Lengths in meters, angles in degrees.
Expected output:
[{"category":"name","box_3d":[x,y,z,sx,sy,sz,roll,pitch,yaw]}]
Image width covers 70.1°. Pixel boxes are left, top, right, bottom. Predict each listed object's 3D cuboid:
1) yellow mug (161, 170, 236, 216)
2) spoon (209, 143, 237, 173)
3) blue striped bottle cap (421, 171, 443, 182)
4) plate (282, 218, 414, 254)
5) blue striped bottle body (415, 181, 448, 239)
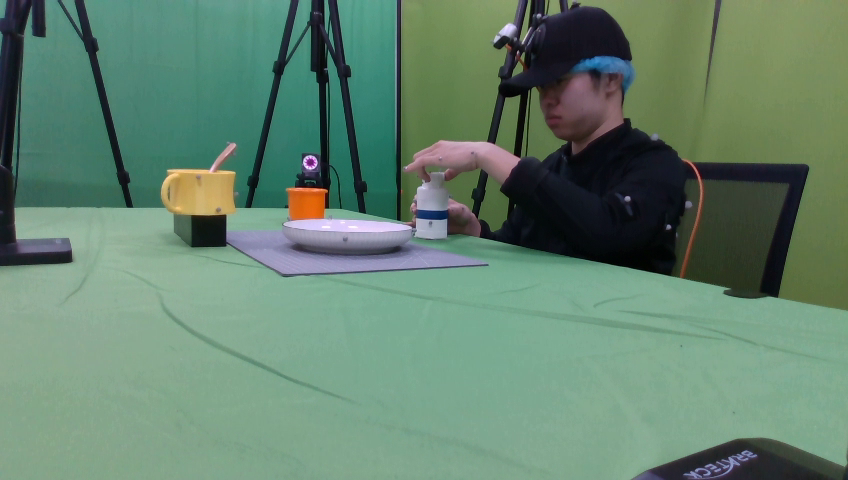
[{"category":"yellow mug","box_3d":[-0.354,-0.074,0.935,0.099,0.064,0.131,5,9,21]},{"category":"spoon","box_3d":[-0.341,-0.113,0.990,0.041,0.021,0.193,1,40,6]},{"category":"blue striped bottle cap","box_3d":[0.015,-0.121,1.159,0.044,0.020,0.044,3,5,0]},{"category":"plate","box_3d":[-0.121,-0.007,0.971,0.208,0.039,0.207,2,7,0]},{"category":"blue striped bottle body","box_3d":[0.014,-0.065,1.166,0.063,0.120,0.063,2,8,0]}]
